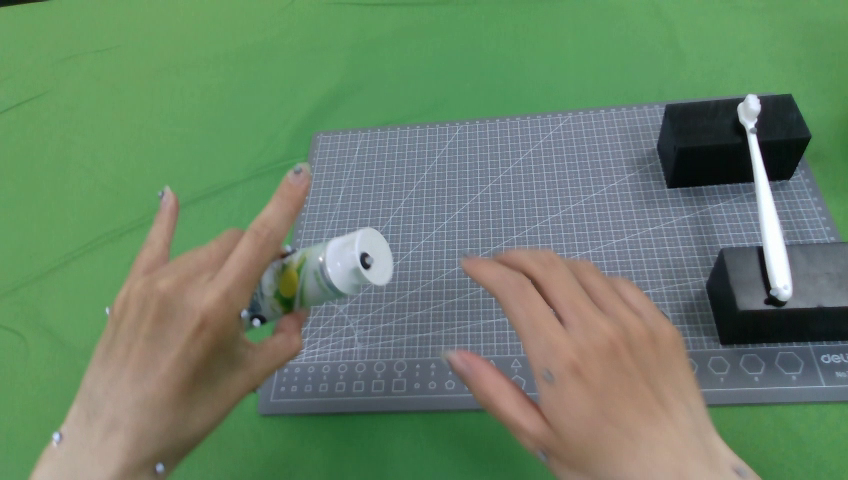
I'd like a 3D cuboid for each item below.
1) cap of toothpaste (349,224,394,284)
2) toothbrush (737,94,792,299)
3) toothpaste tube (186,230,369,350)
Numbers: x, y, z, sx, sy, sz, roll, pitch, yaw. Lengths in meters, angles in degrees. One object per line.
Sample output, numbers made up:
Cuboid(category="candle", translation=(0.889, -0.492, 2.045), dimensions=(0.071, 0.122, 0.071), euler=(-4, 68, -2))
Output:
Cuboid(category="cap of toothpaste", translation=(-0.031, 0.009, 0.351), dimensions=(0.011, 0.038, 0.037), euler=(-19, 49, 27))
Cuboid(category="toothbrush", translation=(0.245, -0.039, 0.436), dimensions=(0.014, 0.017, 0.180), euler=(11, 58, -1))
Cuboid(category="toothpaste tube", translation=(-0.097, 0.028, 0.390), dimensions=(0.164, 0.035, 0.054), euler=(-18, 70, 28))
